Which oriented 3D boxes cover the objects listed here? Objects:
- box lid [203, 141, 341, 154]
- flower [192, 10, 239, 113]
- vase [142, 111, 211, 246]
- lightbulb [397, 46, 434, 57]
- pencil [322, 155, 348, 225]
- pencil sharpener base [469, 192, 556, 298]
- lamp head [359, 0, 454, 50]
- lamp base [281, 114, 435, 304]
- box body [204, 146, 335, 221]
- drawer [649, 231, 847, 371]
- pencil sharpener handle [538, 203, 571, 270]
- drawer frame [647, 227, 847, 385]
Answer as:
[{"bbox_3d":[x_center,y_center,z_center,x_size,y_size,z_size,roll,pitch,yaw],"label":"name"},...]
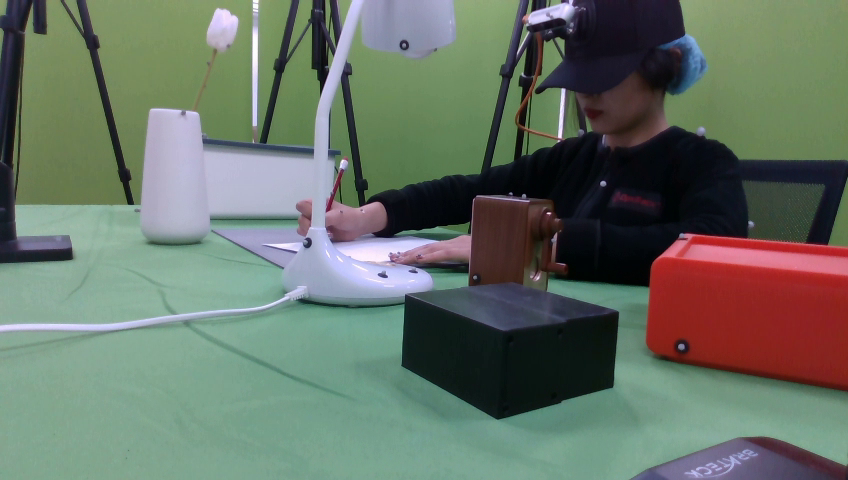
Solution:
[{"bbox_3d":[-0.396,-0.212,1.373,0.373,0.015,0.262,-1,9,-29],"label":"box lid"},{"bbox_3d":[-0.354,-0.174,0.916,0.038,0.361,0.044,18,-3,12],"label":"flower"},{"bbox_3d":[-0.378,-0.093,0.920,0.098,0.200,0.098,2,9,0],"label":"vase"},{"bbox_3d":[-0.017,-0.264,0.692,0.059,0.108,0.059,-9,29,5],"label":"lightbulb"},{"bbox_3d":[-0.149,-0.065,0.967,0.012,0.012,0.194,4,52,11],"label":"pencil"},{"bbox_3d":[0.097,0.003,0.652,0.076,0.107,0.061,8,9,38],"label":"pencil sharpener base"},{"bbox_3d":[-0.024,-0.282,0.674,0.112,0.123,0.112,-3,38,3],"label":"lamp head"},{"bbox_3d":[-0.071,-0.034,0.614,0.160,0.180,0.180,6,10,27],"label":"lamp base"},{"bbox_3d":[-0.411,-0.135,1.386,0.366,0.160,0.253,-2,9,-29],"label":"box body"},{"bbox_3d":[0.303,0.043,0.499,0.194,0.073,0.212,7,9,27],"label":"drawer"},{"bbox_3d":[0.137,-0.003,0.619,0.030,0.067,0.036,8,7,38],"label":"pencil sharpener handle"},{"bbox_3d":[0.303,0.043,0.495,0.201,0.082,0.214,6,9,26],"label":"drawer frame"}]
